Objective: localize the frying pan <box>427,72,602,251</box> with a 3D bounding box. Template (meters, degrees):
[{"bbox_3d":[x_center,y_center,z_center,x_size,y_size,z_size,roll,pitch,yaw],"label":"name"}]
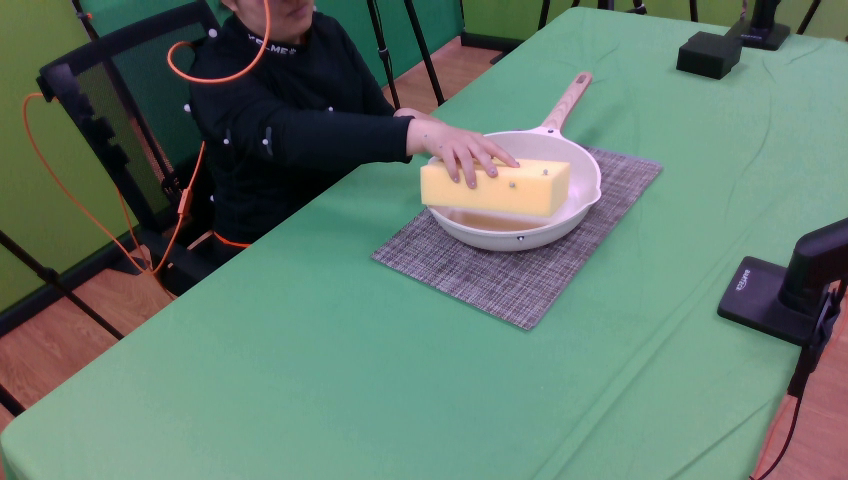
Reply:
[{"bbox_3d":[0.199,-0.155,1.062,0.304,0.103,0.488,19,56,28],"label":"frying pan"}]

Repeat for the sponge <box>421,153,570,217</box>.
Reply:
[{"bbox_3d":[0.113,-0.089,0.946,0.206,0.061,0.118,8,21,21],"label":"sponge"}]
